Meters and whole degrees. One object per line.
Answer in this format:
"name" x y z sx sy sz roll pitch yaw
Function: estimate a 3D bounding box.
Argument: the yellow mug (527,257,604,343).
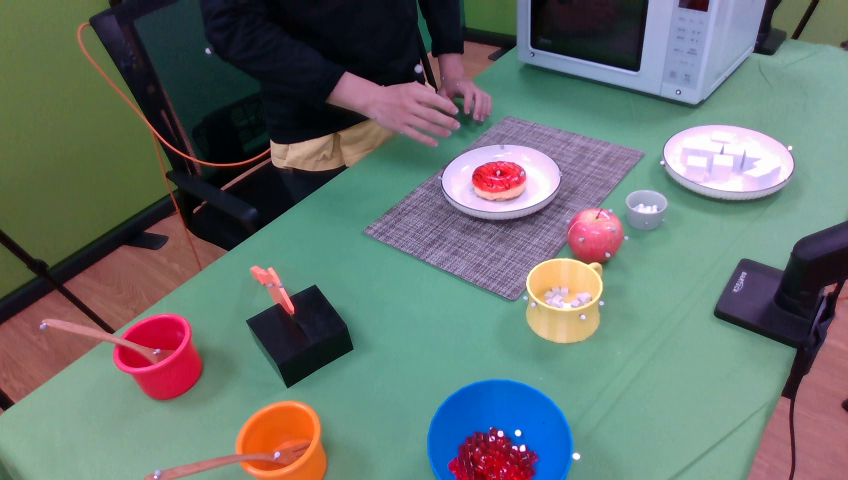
"yellow mug" 0.201 0.072 0.825 0.131 0.064 0.099 -32 46 -27

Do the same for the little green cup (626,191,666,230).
"little green cup" 0.352 -0.046 0.963 0.061 0.039 0.061 -4 40 4

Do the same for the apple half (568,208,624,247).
"apple half" 0.259 -0.014 0.914 0.080 0.075 0.053 0 36 15

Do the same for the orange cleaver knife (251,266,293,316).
"orange cleaver knife" -0.221 0.071 0.873 0.012 0.077 0.210 -25 11 -21

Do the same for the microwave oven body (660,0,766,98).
"microwave oven body" 0.472 -0.513 1.317 0.438 0.261 0.327 26 51 34

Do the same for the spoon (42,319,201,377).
"spoon" -0.385 0.135 0.779 0.195 0.021 0.041 29 36 -26

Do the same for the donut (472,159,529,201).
"donut" 0.132 -0.105 1.043 0.099 0.048 0.098 -5 38 4

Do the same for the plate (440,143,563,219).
"plate" 0.134 -0.098 1.052 0.209 0.038 0.208 -4 40 4

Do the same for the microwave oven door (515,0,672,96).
"microwave oven door" 0.343 -0.454 1.259 0.353 0.245 0.039 26 51 33

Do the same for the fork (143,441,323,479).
"fork" -0.189 0.231 0.631 0.028 0.018 0.209 35 13 37

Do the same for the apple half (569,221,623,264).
"apple half" 0.251 0.010 0.884 0.081 0.081 0.032 3 37 12

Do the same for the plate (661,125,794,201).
"plate" 0.513 -0.128 1.035 0.207 0.039 0.206 -4 40 4

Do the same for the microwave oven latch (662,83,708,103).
"microwave oven latch" 0.517 -0.296 1.204 0.078 0.029 0.030 27 52 35

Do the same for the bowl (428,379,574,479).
"bowl" 0.082 0.233 0.644 0.151 0.077 0.150 -4 40 4
